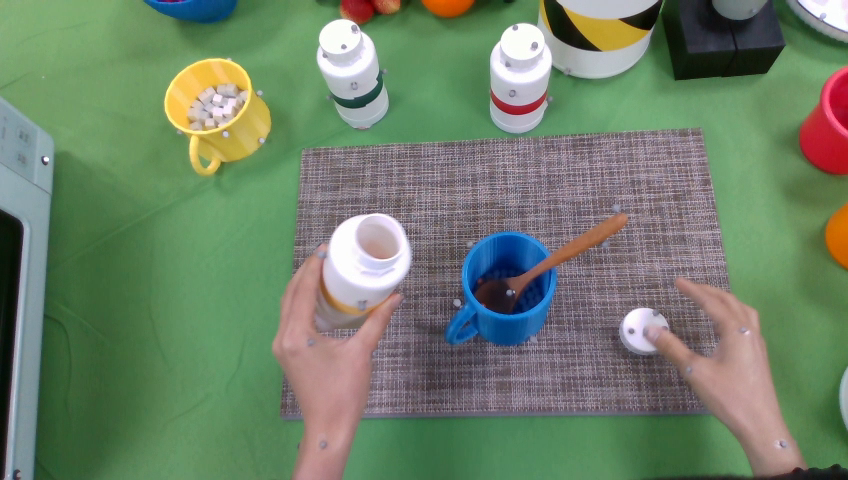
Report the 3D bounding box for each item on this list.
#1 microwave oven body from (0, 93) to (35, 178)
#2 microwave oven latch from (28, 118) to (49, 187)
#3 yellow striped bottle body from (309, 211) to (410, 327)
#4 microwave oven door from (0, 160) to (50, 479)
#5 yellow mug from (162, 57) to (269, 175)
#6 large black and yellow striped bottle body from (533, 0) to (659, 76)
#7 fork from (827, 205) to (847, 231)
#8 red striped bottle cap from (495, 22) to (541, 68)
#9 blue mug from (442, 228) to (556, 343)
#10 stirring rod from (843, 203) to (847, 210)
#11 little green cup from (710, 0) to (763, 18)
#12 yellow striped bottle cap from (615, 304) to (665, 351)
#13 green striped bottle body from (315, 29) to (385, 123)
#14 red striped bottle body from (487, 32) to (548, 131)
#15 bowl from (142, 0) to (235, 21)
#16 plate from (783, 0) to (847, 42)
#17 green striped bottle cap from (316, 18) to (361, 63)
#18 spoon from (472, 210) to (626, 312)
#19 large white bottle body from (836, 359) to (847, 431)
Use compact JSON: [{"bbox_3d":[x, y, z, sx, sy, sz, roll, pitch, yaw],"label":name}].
[{"bbox_3d":[-0.577,0.058,0.547,0.326,0.262,0.438,-11,70,1],"label":"microwave oven body"},{"bbox_3d":[-0.452,-0.098,0.696,0.030,0.030,0.078,-9,70,2],"label":"microwave oven latch"},{"bbox_3d":[-0.051,0.021,0.476,0.063,0.120,0.062,9,62,-16],"label":"yellow striped bottle body"},{"bbox_3d":[-0.428,0.068,0.524,0.039,0.245,0.353,-11,69,2],"label":"microwave oven door"},{"bbox_3d":[-0.242,-0.136,0.694,0.100,0.064,0.130,7,71,8],"label":"yellow mug"},{"bbox_3d":[0.186,-0.278,0.641,0.130,0.185,0.130,-2,69,5],"label":"large black and yellow striped bottle body"},{"bbox_3d":[0.458,0.003,0.528,0.028,0.019,0.205,-39,27,-8],"label":"fork"},{"bbox_3d":[0.093,-0.192,0.596,0.044,0.018,0.044,0,68,1],"label":"red striped bottle cap"},{"bbox_3d":[0.064,0.056,0.567,0.116,0.106,0.082,-37,70,-8],"label":"blue mug"},{"bbox_3d":[0.428,0.003,0.539,0.014,0.006,0.175,1,26,3],"label":"stirring rod"},{"bbox_3d":[0.338,-0.271,0.646,0.061,0.039,0.061,-1,67,3],"label":"little green cup"},{"bbox_3d":[0.211,0.085,0.591,0.044,0.019,0.044,-1,72,3],"label":"yellow striped bottle cap"},{"bbox_3d":[-0.081,-0.186,0.667,0.063,0.120,0.062,-2,69,5],"label":"green striped bottle body"},{"bbox_3d":[0.099,-0.173,0.645,0.063,0.120,0.062,-3,68,7],"label":"red striped bottle body"},{"bbox_3d":[-0.289,-0.333,0.765,0.151,0.077,0.150,-2,70,5],"label":"bowl"},{"bbox_3d":[0.506,-0.307,0.698,0.209,0.038,0.207,-2,70,5],"label":"plate"},{"bbox_3d":[-0.088,-0.204,0.619,0.044,0.020,0.044,-2,68,5],"label":"green striped bottle cap"},{"bbox_3d":[0.100,0.025,0.529,0.022,0.194,0.041,-1,65,-33],"label":"spoon"},{"bbox_3d":[0.433,0.121,0.467,0.130,0.186,0.129,-2,69,5],"label":"large white bottle body"}]
